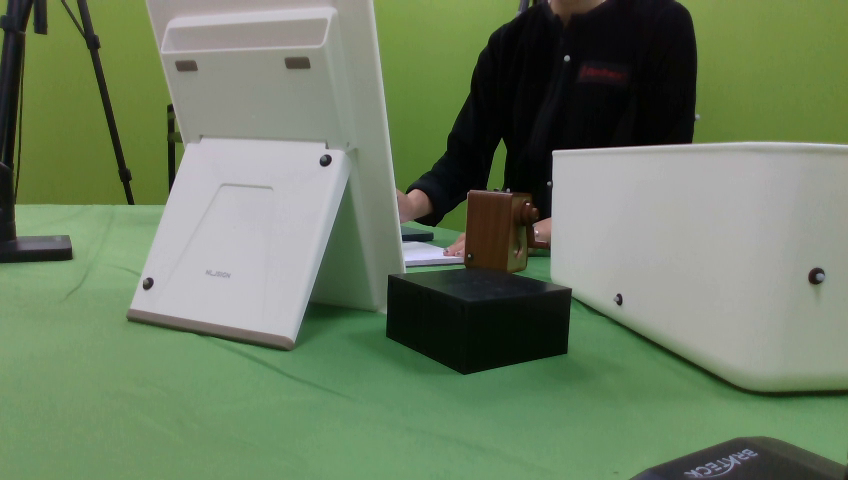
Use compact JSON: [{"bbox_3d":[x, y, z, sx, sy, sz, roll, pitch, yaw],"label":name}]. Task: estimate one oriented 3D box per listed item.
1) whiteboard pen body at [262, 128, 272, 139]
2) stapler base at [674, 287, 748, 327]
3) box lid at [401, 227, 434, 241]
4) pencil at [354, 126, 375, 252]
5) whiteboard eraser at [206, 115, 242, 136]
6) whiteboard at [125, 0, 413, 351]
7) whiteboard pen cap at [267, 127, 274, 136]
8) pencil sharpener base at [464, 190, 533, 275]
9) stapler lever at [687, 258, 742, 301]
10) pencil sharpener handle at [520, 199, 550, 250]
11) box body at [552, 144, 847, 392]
[{"bbox_3d":[-0.361,-0.245,1.393,0.017,0.017,0.140,0,5,-20],"label":"whiteboard pen body"},{"bbox_3d":[0.281,0.061,0.586,0.041,0.024,0.131,11,8,37],"label":"stapler base"},{"bbox_3d":[-0.196,-0.015,1.105,0.373,0.015,0.262,-1,7,-32],"label":"box lid"},{"bbox_3d":[-0.087,-0.076,0.900,0.012,0.193,0.012,-8,-6,-1],"label":"pencil"},{"bbox_3d":[-0.438,-0.249,1.320,0.056,0.042,0.112,-3,9,-30],"label":"whiteboard eraser"},{"bbox_3d":[-0.151,-0.050,0.471,0.216,0.305,0.144,6,27,24],"label":"whiteboard"},{"bbox_3d":[-0.340,-0.239,1.337,0.018,0.018,0.033,1,-1,-14],"label":"whiteboard pen cap"},{"bbox_3d":[0.102,-0.012,0.813,0.076,0.107,0.061,8,9,36],"label":"pencil sharpener base"},{"bbox_3d":[0.283,0.035,0.585,0.026,0.040,0.119,11,8,37],"label":"stapler lever"},{"bbox_3d":[0.147,-0.019,0.785,0.030,0.068,0.036,8,25,36],"label":"pencil sharpener handle"},{"bbox_3d":[0.290,0.002,0.549,0.255,0.160,0.363,2,7,-10],"label":"box body"}]
